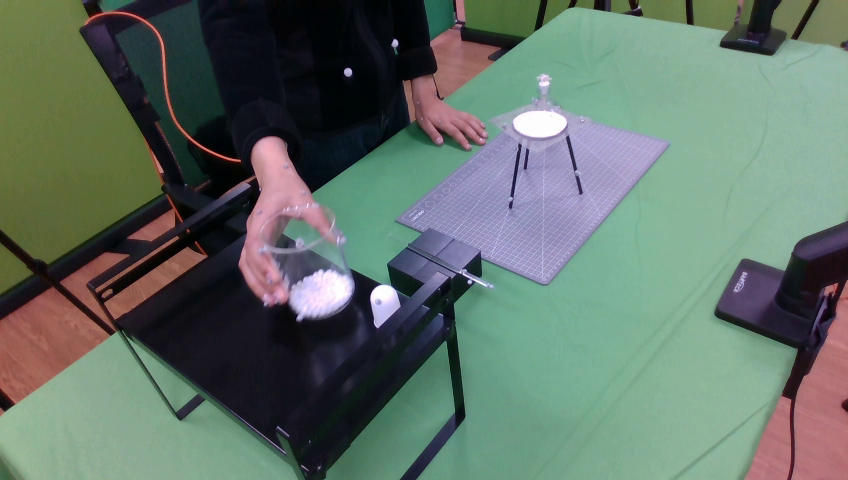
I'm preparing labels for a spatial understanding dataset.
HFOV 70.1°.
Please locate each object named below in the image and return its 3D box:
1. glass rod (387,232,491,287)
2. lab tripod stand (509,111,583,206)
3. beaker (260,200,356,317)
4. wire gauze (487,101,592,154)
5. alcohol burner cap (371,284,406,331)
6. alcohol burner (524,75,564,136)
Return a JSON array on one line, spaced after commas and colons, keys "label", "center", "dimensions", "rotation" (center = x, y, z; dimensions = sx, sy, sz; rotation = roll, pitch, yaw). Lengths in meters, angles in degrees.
[{"label": "glass rod", "center": [0.017, 0.027, 0.878], "dimensions": [0.198, 0.008, 0.008], "rotation": [26, 51, 34]}, {"label": "lab tripod stand", "center": [0.197, -0.139, 1.020], "dimensions": [0.148, 0.132, 0.147], "rotation": [-3, 39, 3]}, {"label": "beaker", "center": [-0.112, 0.020, 0.604], "dimensions": [0.074, 0.101, 0.083], "rotation": [-16, 39, -7]}, {"label": "wire gauze", "center": [0.185, -0.188, 0.974], "dimensions": [0.122, 0.011, 0.124], "rotation": [-27, 44, -23]}, {"label": "alcohol burner cap", "center": [-0.037, 0.065, 0.608], "dimensions": [0.034, 0.048, 0.033], "rotation": [-4, 42, 4]}, {"label": "alcohol burner", "center": [0.232, -0.263, 1.175], "dimensions": [0.078, 0.119, 0.077], "rotation": [-6, 39, 5]}]
